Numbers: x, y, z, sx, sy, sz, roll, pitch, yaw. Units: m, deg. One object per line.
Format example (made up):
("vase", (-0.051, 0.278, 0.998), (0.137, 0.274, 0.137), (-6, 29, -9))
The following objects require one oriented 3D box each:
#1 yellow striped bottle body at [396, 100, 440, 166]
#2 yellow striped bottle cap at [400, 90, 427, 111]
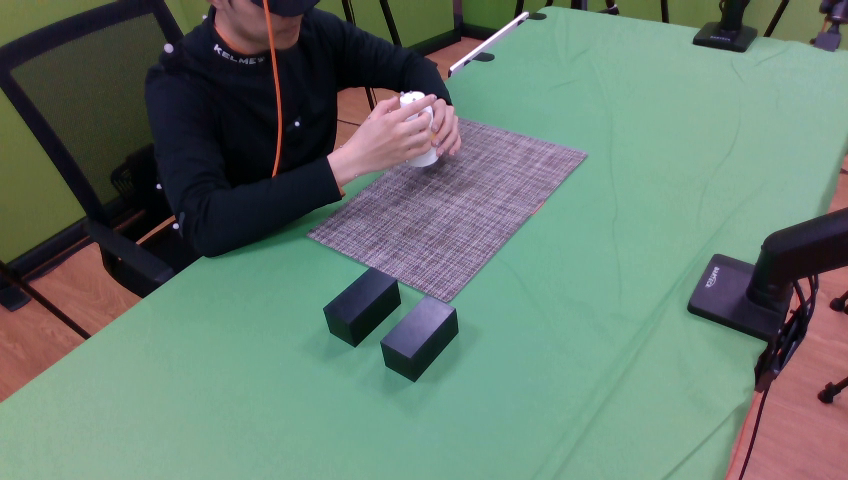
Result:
("yellow striped bottle body", (-0.012, -0.196, 1.058), (0.063, 0.121, 0.062), (-8, 39, 7))
("yellow striped bottle cap", (-0.018, -0.237, 1.027), (0.044, 0.019, 0.044), (-8, 39, 7))
